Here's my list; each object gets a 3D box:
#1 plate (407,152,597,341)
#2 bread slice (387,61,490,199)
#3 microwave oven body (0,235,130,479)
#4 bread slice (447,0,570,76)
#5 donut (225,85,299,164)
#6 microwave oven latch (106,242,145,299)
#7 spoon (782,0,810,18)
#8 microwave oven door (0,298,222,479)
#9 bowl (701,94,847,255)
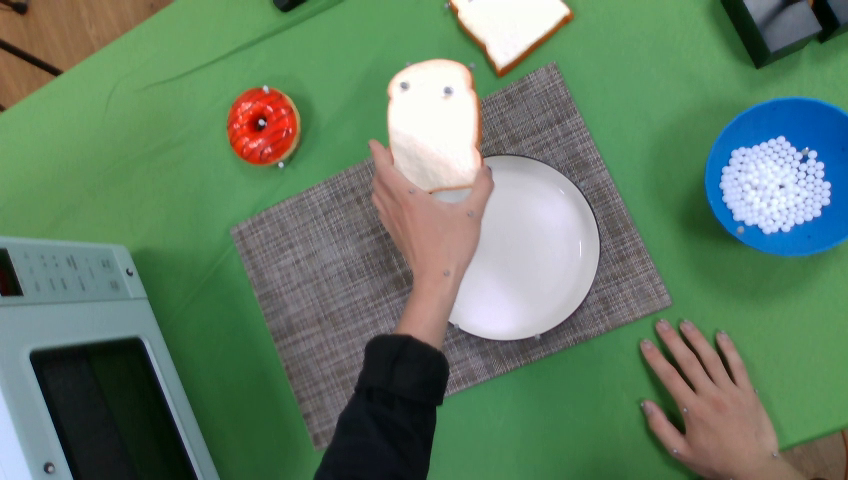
[{"bbox_3d":[0.086,0.008,0.676,0.207,0.039,0.207,-1,88,14],"label":"plate"},{"bbox_3d":[0.009,-0.112,0.617,0.106,0.018,0.134,-8,89,23],"label":"bread slice"},{"bbox_3d":[-0.467,0.261,0.686,0.326,0.261,0.440,-27,82,11],"label":"microwave oven body"},{"bbox_3d":[0.087,-0.271,0.701,0.105,0.019,0.131,-39,81,8],"label":"bread slice"},{"bbox_3d":[-0.201,-0.142,0.752,0.099,0.048,0.099,-1,88,16],"label":"donut"},{"bbox_3d":[-0.389,0.042,0.775,0.030,0.029,0.079,-27,83,11],"label":"microwave oven latch"},{"bbox_3d":[0.342,-0.246,0.547,0.021,0.195,0.041,-25,79,26],"label":"spoon"},{"bbox_3d":[-0.322,0.233,0.647,0.039,0.245,0.354,-27,82,11],"label":"microwave oven door"},{"bbox_3d":[0.347,-0.059,0.598,0.151,0.077,0.151,-1,87,14],"label":"bowl"}]
